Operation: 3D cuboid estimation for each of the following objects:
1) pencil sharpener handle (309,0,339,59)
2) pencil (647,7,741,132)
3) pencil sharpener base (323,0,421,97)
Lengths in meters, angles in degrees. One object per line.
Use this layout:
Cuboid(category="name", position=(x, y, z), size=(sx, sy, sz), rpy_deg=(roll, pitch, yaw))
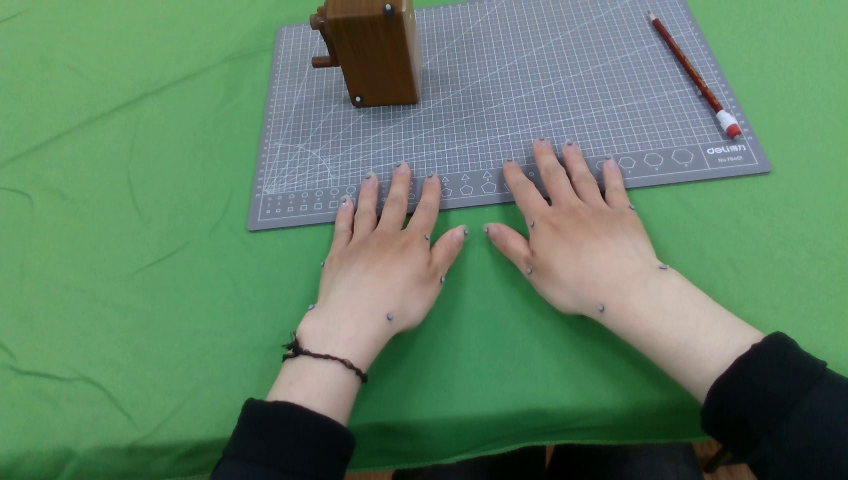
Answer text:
Cuboid(category="pencil sharpener handle", position=(-0.099, -0.199, 0.570), size=(0.030, 0.068, 0.035), rpy_deg=(-3, 54, 7))
Cuboid(category="pencil", position=(0.252, -0.170, 0.578), size=(0.012, 0.012, 0.192), rpy_deg=(-13, 53, -1))
Cuboid(category="pencil sharpener base", position=(-0.047, -0.195, 0.575), size=(0.076, 0.108, 0.061), rpy_deg=(-3, 55, 6))
